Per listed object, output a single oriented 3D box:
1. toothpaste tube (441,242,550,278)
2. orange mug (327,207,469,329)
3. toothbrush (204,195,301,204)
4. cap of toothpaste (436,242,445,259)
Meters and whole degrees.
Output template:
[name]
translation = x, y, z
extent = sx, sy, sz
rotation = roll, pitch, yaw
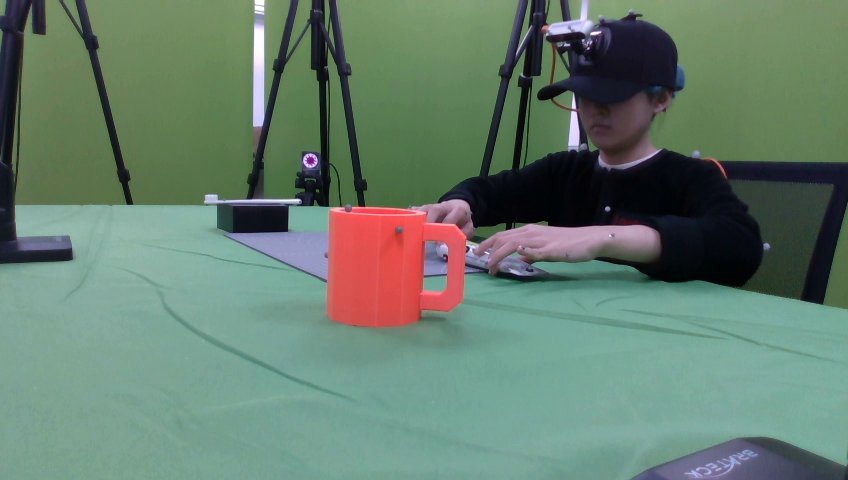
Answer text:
[toothpaste tube]
translation = 0.084, 0.027, 0.803
extent = 0.055, 0.034, 0.164
rotation = -9, 18, -43
[orange mug]
translation = -0.024, 0.021, 0.535
extent = 0.126, 0.100, 0.083
rotation = -1, 6, 8
[toothbrush]
translation = -0.314, -0.074, 1.120
extent = 0.183, 0.016, 0.014
rotation = -2, 4, -36
[cap of toothpaste]
translation = 0.032, 0.010, 0.860
extent = 0.011, 0.037, 0.037
rotation = 14, 13, 43
